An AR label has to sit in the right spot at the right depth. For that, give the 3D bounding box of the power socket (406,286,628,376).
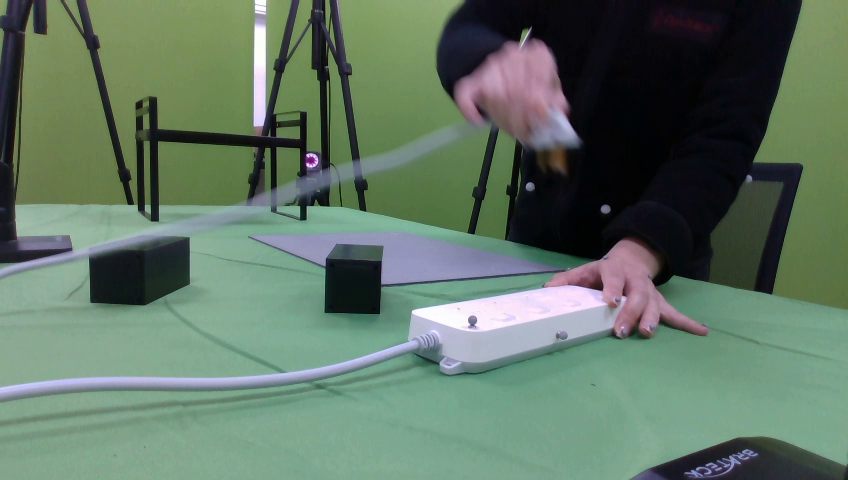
[{"bbox_3d":[0.083,0.066,0.485,0.228,0.032,0.072,-4,9,-42],"label":"power socket"}]

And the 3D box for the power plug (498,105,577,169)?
[{"bbox_3d":[0.095,-0.084,0.498,0.035,0.052,0.072,-5,7,-23],"label":"power plug"}]
